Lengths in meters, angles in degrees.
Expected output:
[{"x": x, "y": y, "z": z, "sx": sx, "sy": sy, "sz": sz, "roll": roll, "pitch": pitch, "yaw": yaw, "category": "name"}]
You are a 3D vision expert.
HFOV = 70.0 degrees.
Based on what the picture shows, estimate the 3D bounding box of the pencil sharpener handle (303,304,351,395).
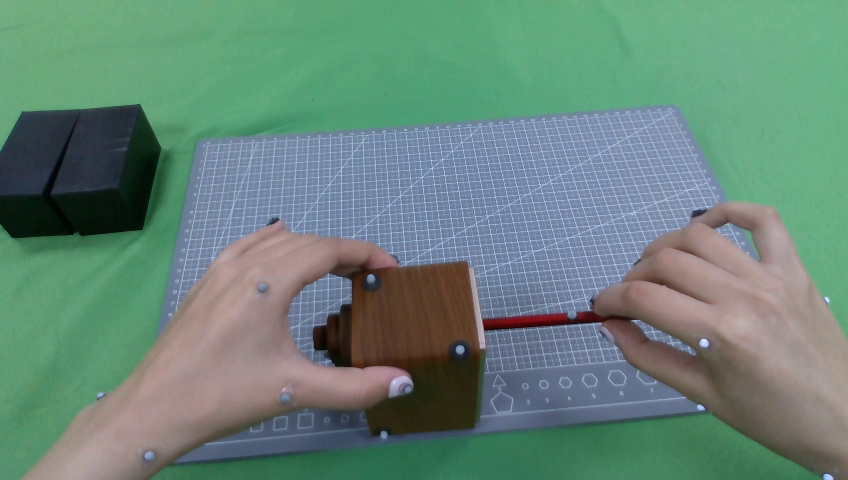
[{"x": -0.059, "y": 0.067, "z": 0.348, "sx": 0.030, "sy": 0.068, "sz": 0.035, "roll": -5, "pitch": 41, "yaw": -1, "category": "pencil sharpener handle"}]

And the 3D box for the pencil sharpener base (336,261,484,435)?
[{"x": -0.007, "y": 0.068, "z": 0.362, "sx": 0.077, "sy": 0.108, "sz": 0.060, "roll": -5, "pitch": 52, "yaw": -2, "category": "pencil sharpener base"}]

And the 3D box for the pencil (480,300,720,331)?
[{"x": 0.072, "y": 0.045, "z": 0.345, "sx": 0.194, "sy": 0.012, "sz": 0.012, "roll": -4, "pitch": 51, "yaw": -2, "category": "pencil"}]
